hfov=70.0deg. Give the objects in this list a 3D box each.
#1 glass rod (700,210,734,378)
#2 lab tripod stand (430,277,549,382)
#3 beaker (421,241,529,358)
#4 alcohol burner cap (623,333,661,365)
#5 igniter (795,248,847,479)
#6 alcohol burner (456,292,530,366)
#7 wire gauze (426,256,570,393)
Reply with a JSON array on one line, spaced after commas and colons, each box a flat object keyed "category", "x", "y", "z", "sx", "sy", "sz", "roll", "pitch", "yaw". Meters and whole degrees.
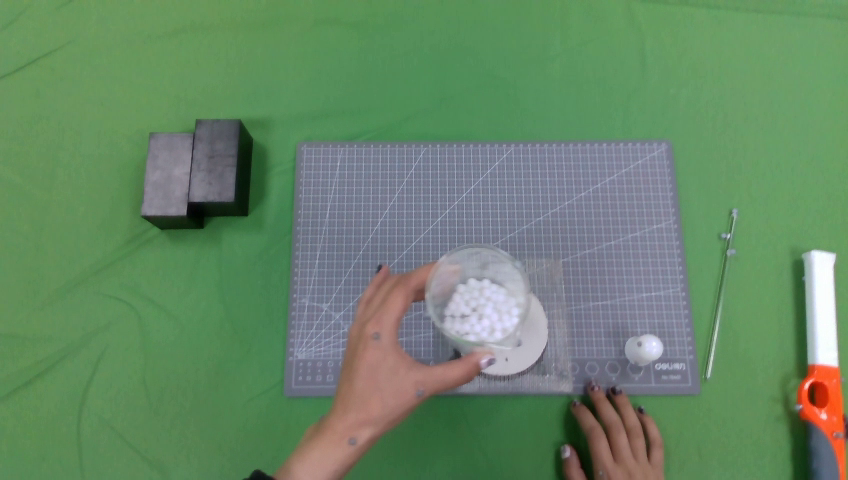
[{"category": "glass rod", "x": 0.331, "y": 0.058, "z": 0.683, "sx": 0.008, "sy": 0.008, "sz": 0.199, "roll": 16, "pitch": 76, "yaw": 4}, {"category": "lab tripod stand", "x": 0.067, "y": 0.095, "z": 0.606, "sx": 0.148, "sy": 0.132, "sz": 0.147, "roll": 0, "pitch": 74, "yaw": 1}, {"category": "beaker", "x": 0.044, "y": 0.054, "z": 0.470, "sx": 0.074, "sy": 0.101, "sz": 0.083, "roll": -33, "pitch": 73, "yaw": -4}, {"category": "alcohol burner cap", "x": 0.235, "y": 0.115, "z": 0.648, "sx": 0.034, "sy": 0.048, "sz": 0.033, "roll": 0, "pitch": 73, "yaw": 2}, {"category": "igniter", "x": 0.425, "y": 0.144, "z": 0.650, "sx": 0.057, "sy": 0.025, "sz": 0.275, "roll": 10, "pitch": 75, "yaw": -8}, {"category": "alcohol burner", "x": 0.072, "y": 0.088, "z": 0.618, "sx": 0.078, "sy": 0.120, "sz": 0.077, "roll": 0, "pitch": 73, "yaw": 0}, {"category": "wire gauze", "x": 0.066, "y": 0.074, "z": 0.542, "sx": 0.125, "sy": 0.011, "sz": 0.121, "roll": -1, "pitch": 74, "yaw": -1}]
